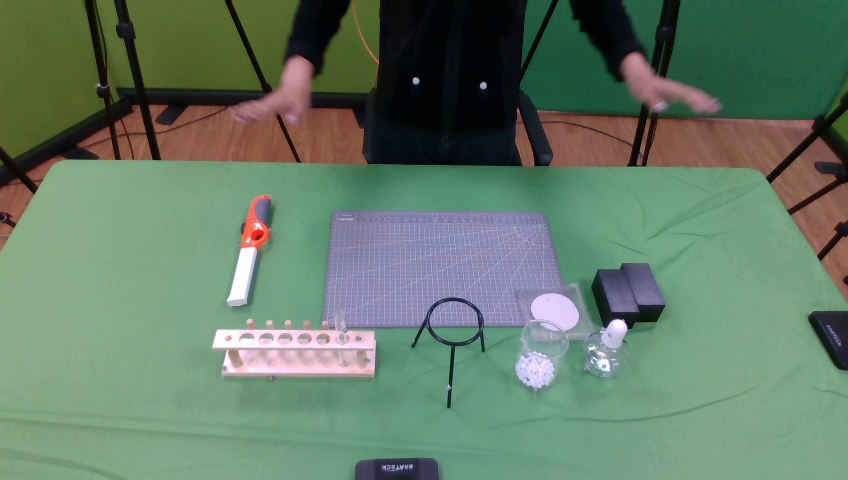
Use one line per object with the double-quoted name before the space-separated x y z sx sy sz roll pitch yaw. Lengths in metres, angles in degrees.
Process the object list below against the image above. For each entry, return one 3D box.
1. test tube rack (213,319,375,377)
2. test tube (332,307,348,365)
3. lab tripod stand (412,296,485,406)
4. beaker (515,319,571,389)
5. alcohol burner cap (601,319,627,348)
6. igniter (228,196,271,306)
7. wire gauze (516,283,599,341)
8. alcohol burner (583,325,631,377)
"test tube rack" -0.202 0.170 0.977 0.242 0.085 0.066 1 46 -3
"test tube" -0.128 0.151 0.931 0.017 0.151 0.017 1 50 -2
"lab tripod stand" 0.045 0.168 0.963 0.148 0.132 0.147 3 47 -3
"beaker" 0.186 0.186 0.980 0.074 0.101 0.083 -23 51 -24
"alcohol burner cap" 0.305 0.146 0.966 0.034 0.048 0.033 6 41 -5
"igniter" -0.332 0.011 1.160 0.057 0.025 0.274 -7 46 5
"wire gauze" 0.240 0.131 1.094 0.125 0.011 0.120 -3 48 -8
"alcohol burner" 0.304 0.171 0.991 0.078 0.120 0.077 2 48 -2
